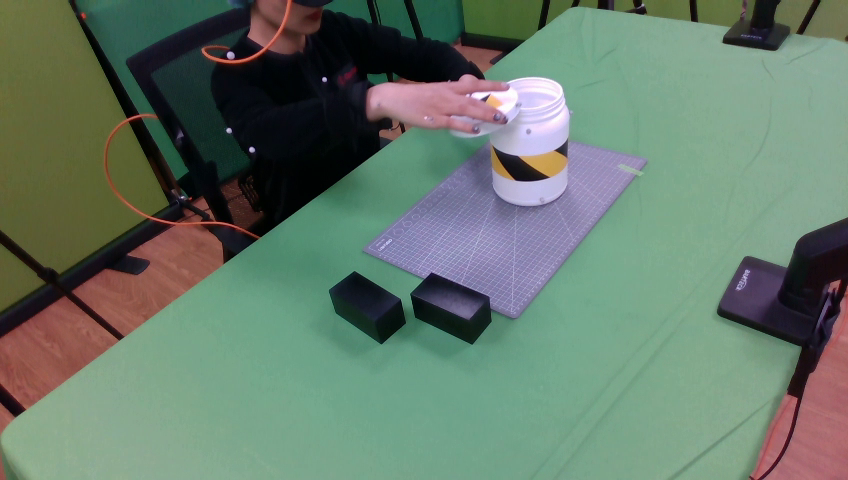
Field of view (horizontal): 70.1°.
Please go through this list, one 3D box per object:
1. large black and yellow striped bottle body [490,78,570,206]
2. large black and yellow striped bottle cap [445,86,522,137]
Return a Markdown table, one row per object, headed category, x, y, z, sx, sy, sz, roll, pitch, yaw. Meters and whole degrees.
| category | x | y | z | sx | sy | sz | roll | pitch | yaw |
| --- | --- | --- | --- | --- | --- | --- | --- | --- | --- |
| large black and yellow striped bottle body | 0.177 | -0.164 | 1.012 | 0.131 | 0.185 | 0.130 | -5 | 40 | 5 |
| large black and yellow striped bottle cap | 0.087 | -0.193 | 0.898 | 0.115 | 0.019 | 0.114 | -15 | 37 | 12 |
